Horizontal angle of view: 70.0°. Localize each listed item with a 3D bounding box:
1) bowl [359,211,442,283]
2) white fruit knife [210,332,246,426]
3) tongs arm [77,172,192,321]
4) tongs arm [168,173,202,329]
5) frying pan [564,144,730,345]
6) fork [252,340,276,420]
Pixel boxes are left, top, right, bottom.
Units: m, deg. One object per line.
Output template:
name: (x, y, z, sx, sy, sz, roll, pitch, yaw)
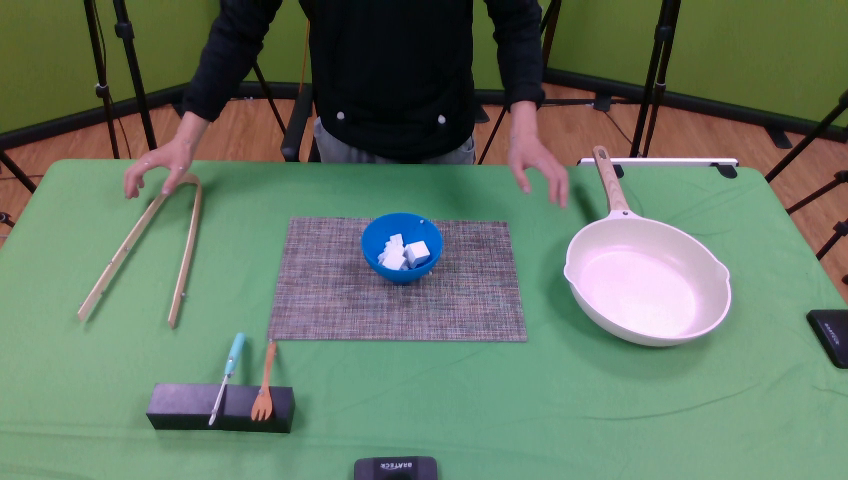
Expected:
bowl: (-0.045, 0.026, 1.124, 0.151, 0.077, 0.150, 2, 46, -2)
white fruit knife: (-0.301, 0.206, 0.930, 0.016, 0.027, 0.206, 5, 29, -7)
tongs arm: (-0.535, -0.002, 1.147, 0.051, 0.026, 0.382, 7, 45, 1)
tongs arm: (-0.454, 0.006, 1.153, 0.028, 0.028, 0.385, -5, 47, -6)
frying pan: (0.396, -0.008, 1.179, 0.307, 0.103, 0.484, 0, 55, -5)
fork: (-0.242, 0.211, 0.932, 0.028, 0.019, 0.206, -7, 27, -5)
